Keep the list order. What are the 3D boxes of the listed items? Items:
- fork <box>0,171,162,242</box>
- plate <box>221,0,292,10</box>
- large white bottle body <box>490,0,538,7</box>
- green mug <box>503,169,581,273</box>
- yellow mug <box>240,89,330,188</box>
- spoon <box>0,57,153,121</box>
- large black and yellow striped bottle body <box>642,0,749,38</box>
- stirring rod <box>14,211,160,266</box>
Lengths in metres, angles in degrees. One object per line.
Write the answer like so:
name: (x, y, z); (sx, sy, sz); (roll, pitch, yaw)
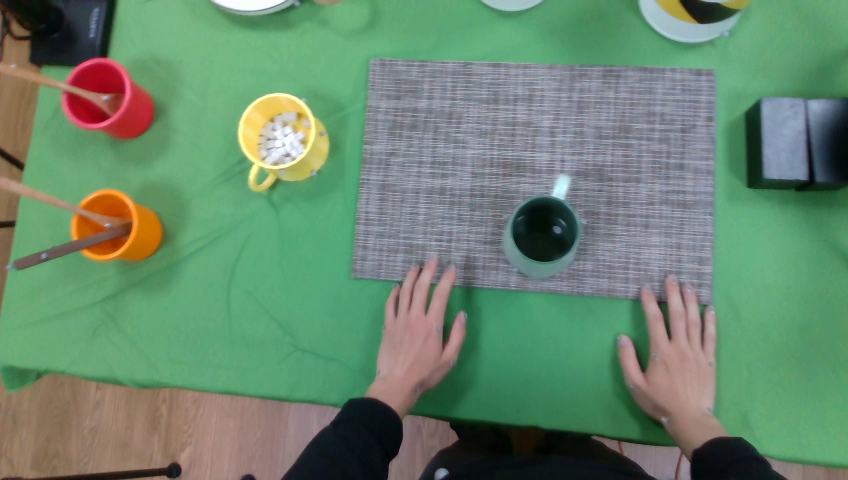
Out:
fork: (-0.439, -0.043, 0.769); (0.209, 0.018, 0.028); (26, 81, -34)
plate: (-0.226, -0.417, 0.850); (0.207, 0.039, 0.207); (-1, 83, 6)
large white bottle body: (0.112, -0.387, 0.734); (0.130, 0.185, 0.130); (-1, 82, 7)
green mug: (0.147, -0.025, 0.721); (0.092, 0.105, 0.125); (21, 85, 9)
yellow mug: (-0.189, -0.126, 0.795); (0.099, 0.064, 0.131); (30, 88, 9)
spoon: (-0.460, -0.203, 0.796); (0.195, 0.021, 0.041); (17, 81, -36)
large black and yellow striped bottle body: (0.338, -0.334, 0.703); (0.130, 0.184, 0.130); (-1, 82, 7)
stirring rod: (-0.421, -0.005, 0.768); (0.176, 0.006, 0.014); (-27, 79, -40)
